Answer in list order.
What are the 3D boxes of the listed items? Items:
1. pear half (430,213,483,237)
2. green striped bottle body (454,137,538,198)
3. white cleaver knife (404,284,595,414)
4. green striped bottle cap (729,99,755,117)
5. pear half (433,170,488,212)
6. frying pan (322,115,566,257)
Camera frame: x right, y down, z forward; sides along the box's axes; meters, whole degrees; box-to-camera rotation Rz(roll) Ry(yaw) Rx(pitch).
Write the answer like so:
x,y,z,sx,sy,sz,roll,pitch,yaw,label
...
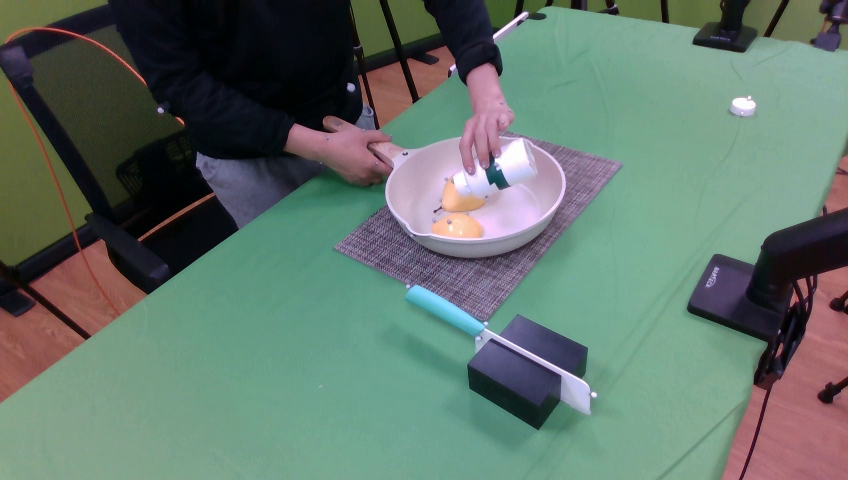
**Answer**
x,y,z,sx,sy,sz,roll,pitch,yaw,label
0.051,-0.024,0.972,0.087,0.031,0.070,14,40,18,pear half
0.105,-0.104,0.909,0.119,0.063,0.063,-21,36,21,green striped bottle body
0.084,0.135,0.764,0.284,0.066,0.021,28,47,31,white cleaver knife
0.623,-0.259,1.183,0.044,0.020,0.044,-3,40,3,green striped bottle cap
0.057,-0.083,1.023,0.110,0.056,0.075,-34,41,-24,pear half
0.004,-0.121,1.039,0.484,0.103,0.308,31,52,25,frying pan
